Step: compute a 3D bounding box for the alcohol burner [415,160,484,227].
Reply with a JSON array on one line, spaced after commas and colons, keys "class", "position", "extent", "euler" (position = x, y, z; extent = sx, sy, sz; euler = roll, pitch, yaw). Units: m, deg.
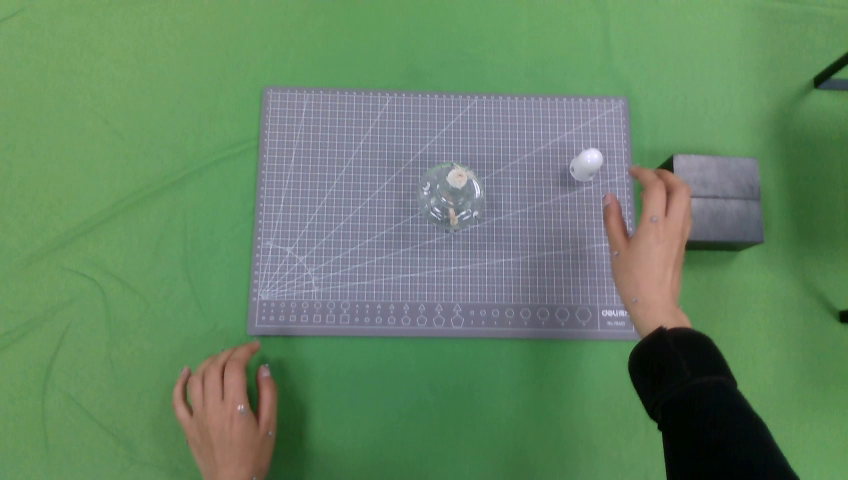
[{"class": "alcohol burner", "position": [0.030, -0.056, 0.664], "extent": [0.078, 0.119, 0.077], "euler": [1, 78, -5]}]

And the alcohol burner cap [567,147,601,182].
[{"class": "alcohol burner cap", "position": [0.192, -0.092, 0.717], "extent": [0.034, 0.048, 0.033], "euler": [1, 77, -3]}]
